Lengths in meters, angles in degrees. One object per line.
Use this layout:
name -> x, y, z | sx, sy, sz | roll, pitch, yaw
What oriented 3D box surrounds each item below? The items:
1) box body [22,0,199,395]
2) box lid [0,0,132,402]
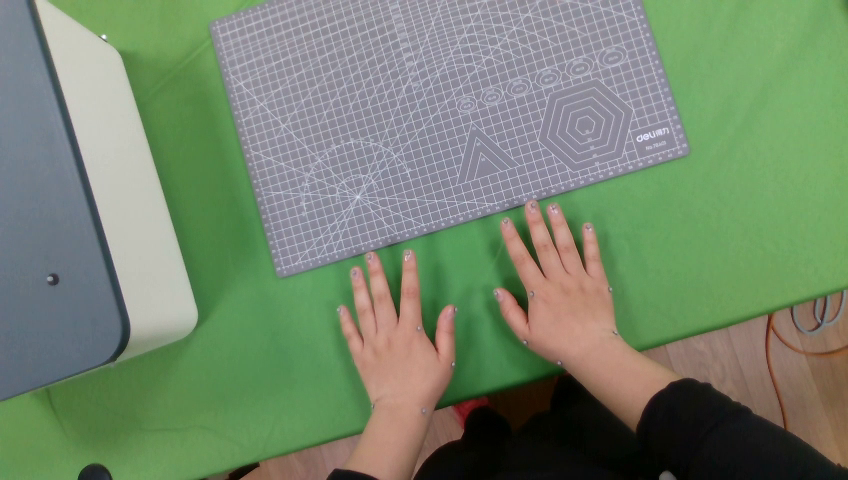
box body -> -0.415, -0.028, 0.615 | 0.254, 0.161, 0.363 | -20, 86, 6
box lid -> -0.425, -0.035, 0.541 | 0.263, 0.015, 0.370 | -20, 86, 6
